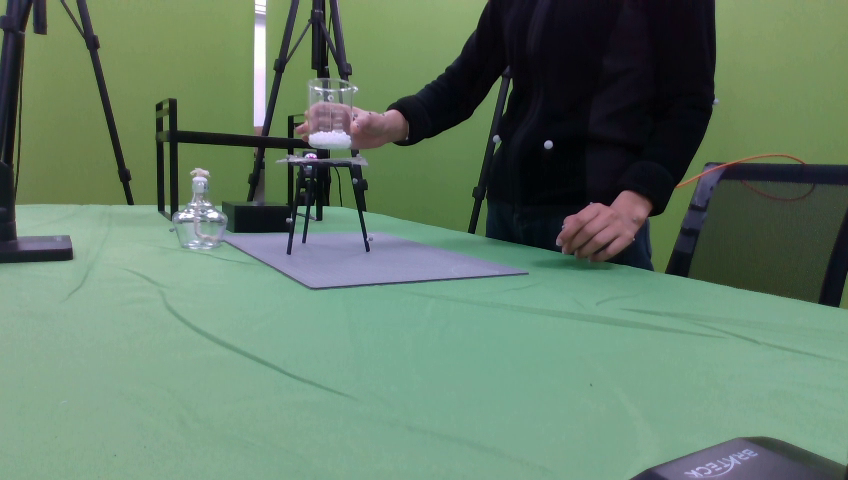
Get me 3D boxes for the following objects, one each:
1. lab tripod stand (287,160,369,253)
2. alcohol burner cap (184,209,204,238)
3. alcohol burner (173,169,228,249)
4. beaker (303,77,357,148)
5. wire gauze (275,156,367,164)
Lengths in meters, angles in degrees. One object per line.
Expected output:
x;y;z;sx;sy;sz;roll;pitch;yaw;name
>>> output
-0.157;-0.053;0.901;0.148;0.131;0.148;0;7;0;lab tripod stand
-0.389;-0.029;1.025;0.034;0.048;0.034;2;9;0;alcohol burner cap
-0.333;-0.047;0.903;0.078;0.119;0.078;2;6;0;alcohol burner
-0.147;-0.197;0.951;0.084;0.100;0.074;0;2;0;beaker
-0.148;-0.119;0.895;0.121;0.011;0.125;1;7;-3;wire gauze
